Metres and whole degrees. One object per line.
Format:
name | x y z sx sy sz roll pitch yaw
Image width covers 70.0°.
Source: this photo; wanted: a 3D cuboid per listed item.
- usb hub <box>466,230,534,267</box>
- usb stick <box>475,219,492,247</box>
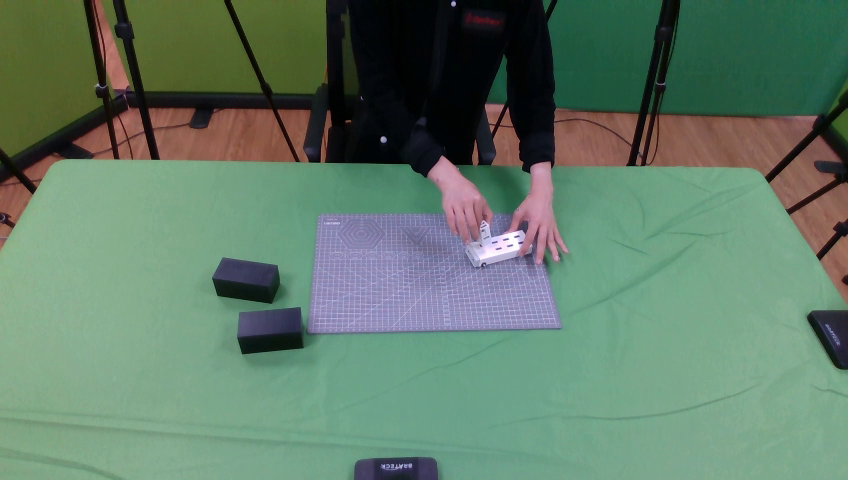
usb hub | 0.149 0.017 1.186 0.125 0.025 0.049 -13 50 -16
usb stick | 0.114 -0.008 1.152 0.021 0.059 0.027 -24 43 -15
